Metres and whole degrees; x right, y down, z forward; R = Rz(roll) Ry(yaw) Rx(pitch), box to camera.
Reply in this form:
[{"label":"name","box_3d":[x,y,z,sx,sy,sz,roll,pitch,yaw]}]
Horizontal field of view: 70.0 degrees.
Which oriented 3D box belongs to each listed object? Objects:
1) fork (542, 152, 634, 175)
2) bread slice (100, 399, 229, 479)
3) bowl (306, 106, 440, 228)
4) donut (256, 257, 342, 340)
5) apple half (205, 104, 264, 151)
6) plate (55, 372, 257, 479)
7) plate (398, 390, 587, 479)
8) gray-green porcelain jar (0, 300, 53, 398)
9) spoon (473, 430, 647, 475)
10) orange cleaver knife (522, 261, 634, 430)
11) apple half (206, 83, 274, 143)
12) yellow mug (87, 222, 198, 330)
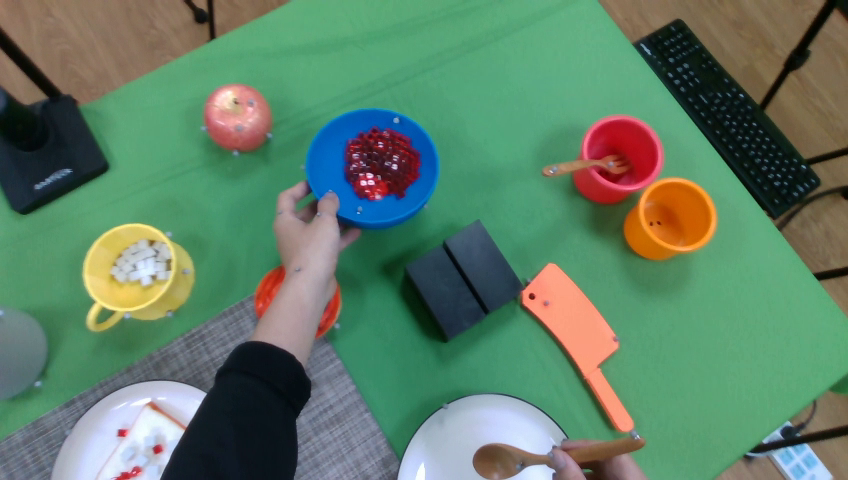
[{"label":"fork","box_3d":[0.196,-0.089,0.713,0.208,0.018,0.028,-11,71,-49]},{"label":"bread slice","box_3d":[-0.291,0.255,0.652,0.104,0.019,0.131,31,74,6]},{"label":"bowl","box_3d":[-0.059,-0.073,0.712,0.151,0.077,0.150,2,67,-3]},{"label":"donut","box_3d":[-0.145,0.068,0.704,0.099,0.048,0.098,1,77,-3]},{"label":"apple half","box_3d":[-0.235,-0.127,0.738,0.081,0.081,0.032,24,70,4]},{"label":"plate","box_3d":[-0.282,0.249,0.652,0.208,0.039,0.206,1,75,-2]},{"label":"plate","box_3d":[0.074,0.272,0.667,0.209,0.038,0.208,1,75,-2]},{"label":"gray-green porcelain jar","box_3d":[-0.470,0.113,0.638,0.106,0.127,0.105,1,74,-2]},{"label":"spoon","box_3d":[0.113,0.189,0.538,0.021,0.193,0.042,-40,98,-41]},{"label":"orange cleaver knife","box_3d":[0.196,0.122,0.723,0.077,0.012,0.210,-29,77,-16]},{"label":"apple half","box_3d":[-0.220,-0.161,0.750,0.080,0.075,0.053,23,70,8]},{"label":"yellow mug","box_3d":[-0.329,0.048,0.693,0.100,0.064,0.130,34,77,6]}]
